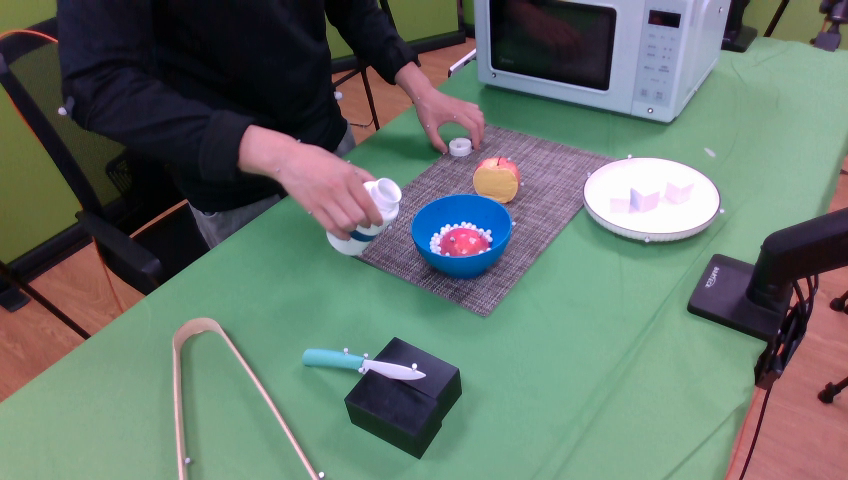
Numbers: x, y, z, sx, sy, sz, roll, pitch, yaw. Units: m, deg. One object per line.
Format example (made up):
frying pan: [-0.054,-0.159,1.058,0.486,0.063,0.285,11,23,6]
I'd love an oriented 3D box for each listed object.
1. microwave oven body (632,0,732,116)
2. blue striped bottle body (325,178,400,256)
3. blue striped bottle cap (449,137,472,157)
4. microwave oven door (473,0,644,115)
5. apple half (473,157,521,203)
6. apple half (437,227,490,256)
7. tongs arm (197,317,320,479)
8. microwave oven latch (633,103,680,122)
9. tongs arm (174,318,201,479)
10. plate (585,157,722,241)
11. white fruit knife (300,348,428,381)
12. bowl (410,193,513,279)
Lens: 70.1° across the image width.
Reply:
microwave oven body: [0.377,-0.463,1.267,0.438,0.261,0.327,21,49,30]
blue striped bottle body: [-0.080,-0.034,0.818,0.063,0.120,0.063,23,45,-25]
blue striped bottle cap: [0.070,-0.180,1.168,0.044,0.021,0.044,-5,43,5]
microwave oven door: [0.257,-0.396,1.199,0.353,0.245,0.039,21,48,29]
apple half: [0.128,-0.107,1.030,0.080,0.075,0.053,4,38,19]
apple half: [0.056,0.001,0.902,0.081,0.033,0.081,-3,42,3]
tongs arm: [-0.199,0.207,0.750,0.028,0.028,0.384,-31,45,-22]
microwave oven latch: [0.444,-0.249,1.158,0.078,0.029,0.030,21,49,30]
tongs arm: [-0.272,0.234,0.723,0.051,0.026,0.381,-19,40,-15]
plate: [0.367,-0.063,0.979,0.207,0.039,0.206,-4,40,4]
white fruit knife: [-0.080,0.154,0.748,0.206,0.027,0.016,1,20,34]
bowl: [0.058,0.005,0.905,0.151,0.077,0.150,-4,40,3]
